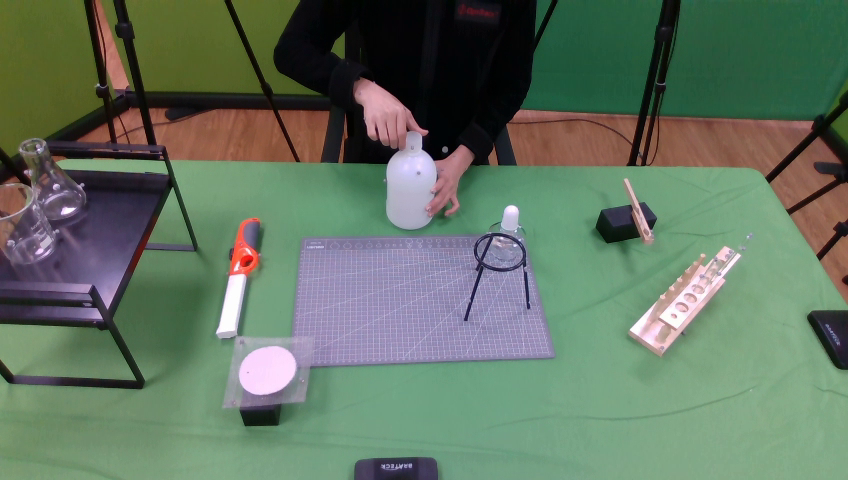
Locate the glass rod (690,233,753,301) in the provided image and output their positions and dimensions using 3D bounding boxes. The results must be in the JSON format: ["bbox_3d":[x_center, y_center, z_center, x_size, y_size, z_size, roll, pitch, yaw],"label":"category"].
[{"bbox_3d":[0.507,0.053,1.041,0.008,0.200,0.008,5,51,-6],"label":"glass rod"}]

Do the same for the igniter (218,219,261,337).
[{"bbox_3d":[-0.336,0.060,1.111,0.057,0.025,0.274,-8,46,3],"label":"igniter"}]

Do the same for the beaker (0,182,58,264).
[{"bbox_3d":[-0.582,-0.019,0.870,0.074,0.101,0.083,5,46,1],"label":"beaker"}]

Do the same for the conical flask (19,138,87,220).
[{"bbox_3d":[-0.576,-0.097,0.930,0.075,0.122,0.075,2,46,-2],"label":"conical flask"}]

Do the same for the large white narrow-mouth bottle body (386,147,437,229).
[{"bbox_3d":[-0.024,-0.119,1.190,0.102,0.195,0.101,2,46,-2],"label":"large white narrow-mouth bottle body"}]

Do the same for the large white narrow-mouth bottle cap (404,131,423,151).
[{"bbox_3d":[-0.019,-0.183,1.121,0.038,0.024,0.037,3,46,-3],"label":"large white narrow-mouth bottle cap"}]

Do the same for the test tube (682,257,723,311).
[{"bbox_3d":[0.475,0.080,1.037,0.017,0.151,0.017,1,51,-1],"label":"test tube"}]

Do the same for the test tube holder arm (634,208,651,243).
[{"bbox_3d":[0.428,-0.030,1.189,0.010,0.015,0.087,1,47,-2],"label":"test tube holder arm"}]

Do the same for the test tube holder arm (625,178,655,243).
[{"bbox_3d":[0.433,-0.062,1.220,0.013,0.015,0.177,1,47,-3],"label":"test tube holder arm"}]

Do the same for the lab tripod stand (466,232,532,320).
[{"bbox_3d":[0.125,0.059,1.065,0.148,0.132,0.147,1,45,0],"label":"lab tripod stand"}]

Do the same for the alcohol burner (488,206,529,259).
[{"bbox_3d":[0.163,-0.020,1.158,0.078,0.120,0.077,1,47,0],"label":"alcohol burner"}]

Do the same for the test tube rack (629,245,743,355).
[{"bbox_3d":[0.474,0.095,1.091,0.242,0.085,0.066,-34,56,-31],"label":"test tube rack"}]

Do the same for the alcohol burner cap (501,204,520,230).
[{"bbox_3d":[0.164,-0.046,1.133,0.034,0.048,0.033,2,40,-2],"label":"alcohol burner cap"}]

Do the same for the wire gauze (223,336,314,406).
[{"bbox_3d":[-0.237,0.197,0.931,0.121,0.011,0.124,1,45,-4],"label":"wire gauze"}]
